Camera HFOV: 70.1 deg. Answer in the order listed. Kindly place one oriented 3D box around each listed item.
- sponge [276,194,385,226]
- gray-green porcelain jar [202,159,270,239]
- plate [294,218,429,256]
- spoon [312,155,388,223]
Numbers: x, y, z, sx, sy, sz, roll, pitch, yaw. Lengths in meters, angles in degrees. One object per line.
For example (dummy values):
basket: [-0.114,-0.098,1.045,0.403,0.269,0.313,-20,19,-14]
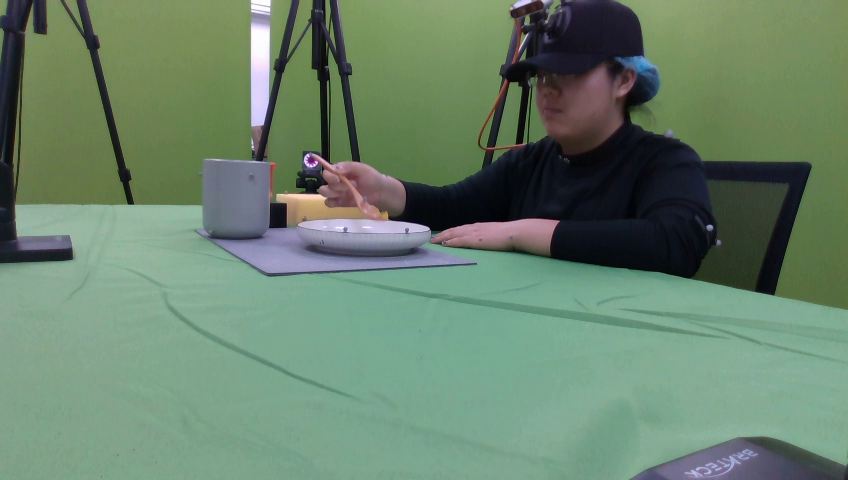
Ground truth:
sponge: [-0.202,-0.067,1.312,0.208,0.061,0.117,-3,9,-35]
gray-green porcelain jar: [-0.310,-0.068,0.999,0.106,0.126,0.106,3,8,0]
plate: [-0.096,-0.005,0.936,0.208,0.039,0.207,3,7,0]
spoon: [-0.124,-0.086,0.987,0.193,0.021,0.042,47,26,26]
